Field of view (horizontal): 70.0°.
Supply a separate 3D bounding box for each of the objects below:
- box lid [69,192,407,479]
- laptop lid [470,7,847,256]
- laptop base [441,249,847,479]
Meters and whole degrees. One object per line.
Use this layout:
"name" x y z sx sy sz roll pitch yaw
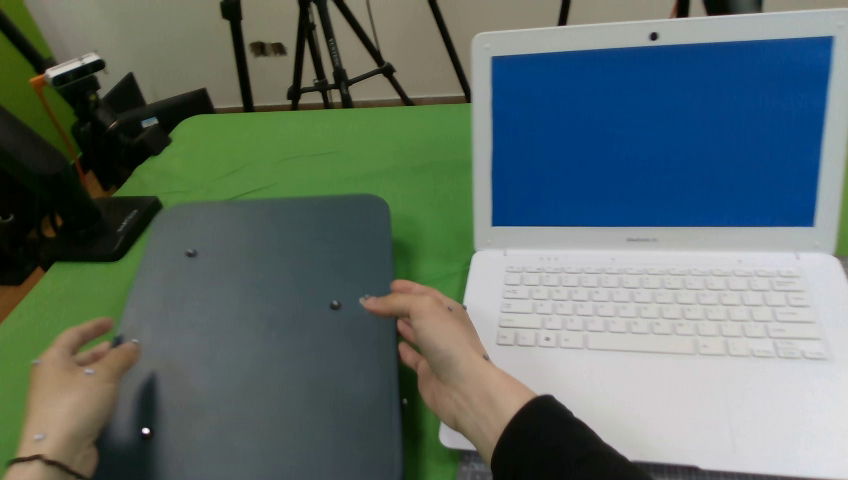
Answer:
"box lid" -0.156 0.085 0.575 0.263 0.015 0.367 -4 45 -3
"laptop lid" 0.221 -0.095 0.600 0.356 0.242 0.013 -1 12 14
"laptop base" 0.204 0.097 0.542 0.353 0.023 0.233 0 45 13
